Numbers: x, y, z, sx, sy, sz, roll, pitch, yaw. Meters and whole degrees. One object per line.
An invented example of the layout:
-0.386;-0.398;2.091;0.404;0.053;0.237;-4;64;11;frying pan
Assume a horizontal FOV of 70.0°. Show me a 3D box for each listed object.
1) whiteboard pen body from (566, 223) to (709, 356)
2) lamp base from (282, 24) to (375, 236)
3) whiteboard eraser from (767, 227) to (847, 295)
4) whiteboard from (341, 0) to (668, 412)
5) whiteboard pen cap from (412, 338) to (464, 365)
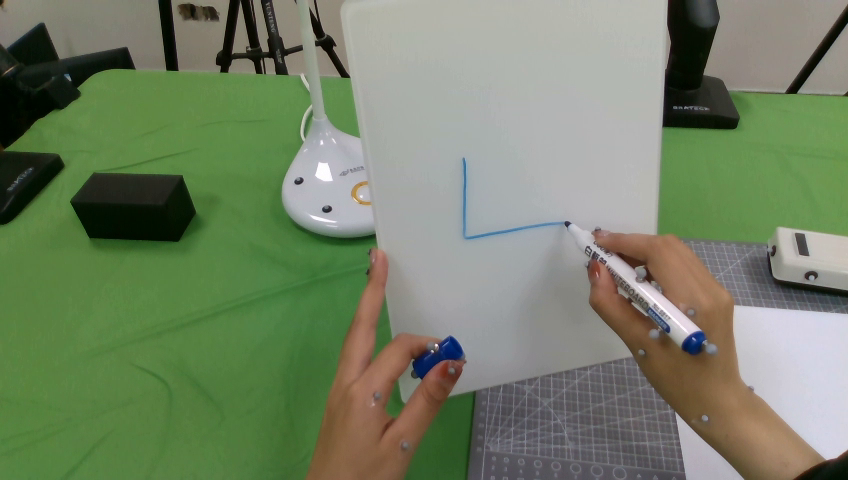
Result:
0.132;0.025;0.397;0.017;0.017;0.139;-17;38;-15;whiteboard pen body
-0.090;-0.122;0.638;0.161;0.182;0.177;-31;47;-27;lamp base
0.379;0.023;0.556;0.112;0.042;0.055;9;42;12;whiteboard eraser
0.060;-0.047;0.498;0.217;0.307;0.142;-10;24;-7;whiteboard
0.010;0.073;0.397;0.033;0.018;0.018;-5;35;36;whiteboard pen cap
